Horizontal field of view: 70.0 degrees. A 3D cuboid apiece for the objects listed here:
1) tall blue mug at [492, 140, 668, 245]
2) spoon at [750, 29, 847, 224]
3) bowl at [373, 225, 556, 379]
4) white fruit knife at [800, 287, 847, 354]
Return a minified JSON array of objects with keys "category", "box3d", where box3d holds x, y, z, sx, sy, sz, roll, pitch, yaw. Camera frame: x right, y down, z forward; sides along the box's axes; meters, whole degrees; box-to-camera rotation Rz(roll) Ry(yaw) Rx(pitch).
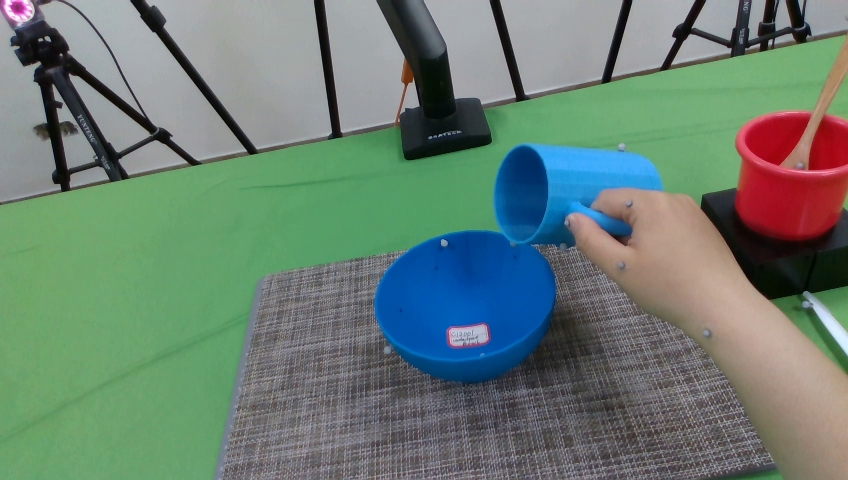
[{"category":"tall blue mug","box3d":[0.126,-0.037,0.463,0.108,0.077,0.107,0,-6,-25]},{"category":"spoon","box3d":[0.330,-0.102,0.509,0.041,0.022,0.194,27,98,40]},{"category":"bowl","box3d":[0.038,0.065,0.517,0.151,0.077,0.150,-8,40,7]},{"category":"white fruit knife","box3d":[0.336,0.105,0.446,0.027,0.016,0.205,11,36,-13]}]
